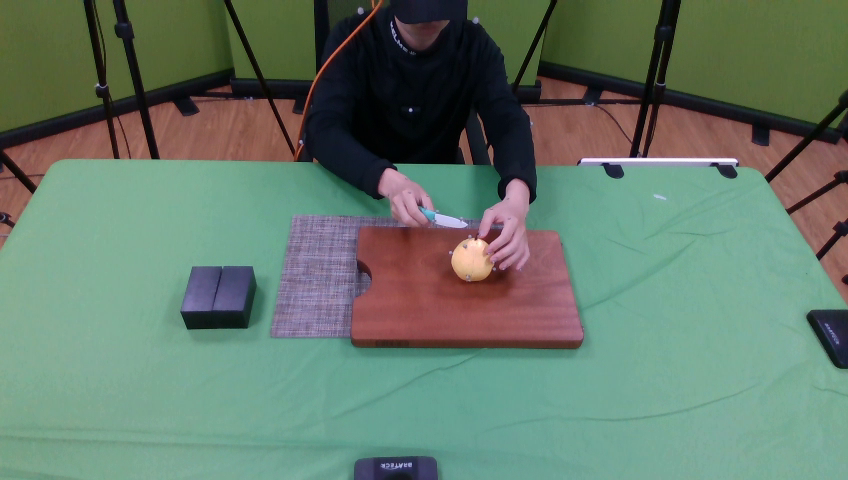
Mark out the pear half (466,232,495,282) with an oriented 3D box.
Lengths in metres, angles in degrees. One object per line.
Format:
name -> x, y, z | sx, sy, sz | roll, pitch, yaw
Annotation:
pear half -> 0.101, 0.024, 1.085 | 0.056, 0.110, 0.076 | -11, 52, -14

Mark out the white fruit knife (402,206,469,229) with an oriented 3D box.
white fruit knife -> 0.018, -0.040, 1.095 | 0.016, 0.027, 0.206 | -29, 24, -27

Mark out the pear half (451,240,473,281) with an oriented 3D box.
pear half -> 0.065, 0.036, 1.085 | 0.031, 0.088, 0.070 | -11, 51, -13
